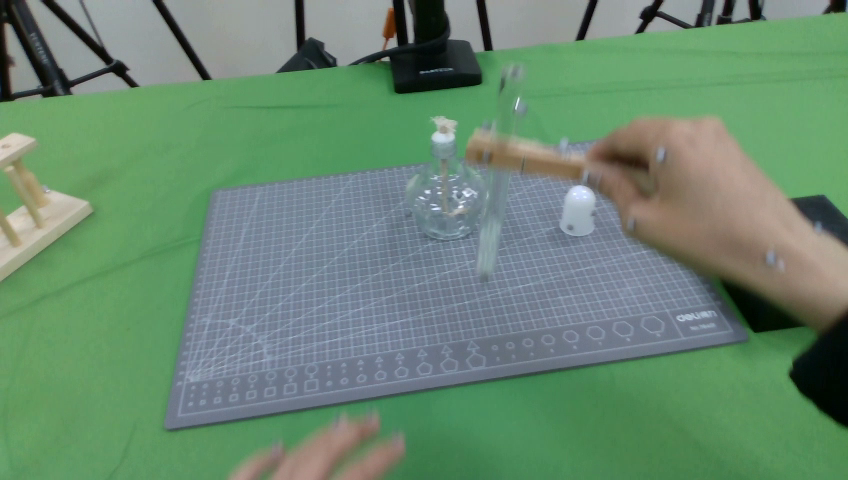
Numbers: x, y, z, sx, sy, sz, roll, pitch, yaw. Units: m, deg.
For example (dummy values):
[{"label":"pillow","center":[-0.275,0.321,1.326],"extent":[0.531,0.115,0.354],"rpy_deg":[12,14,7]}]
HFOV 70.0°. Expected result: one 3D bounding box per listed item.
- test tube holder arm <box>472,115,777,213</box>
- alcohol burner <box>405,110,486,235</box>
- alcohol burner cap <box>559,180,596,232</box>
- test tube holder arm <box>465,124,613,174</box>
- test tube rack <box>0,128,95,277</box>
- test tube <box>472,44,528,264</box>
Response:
[{"label":"test tube holder arm","center":[0.112,-0.047,0.358],"extent":[0.177,0.015,0.013],"rpy_deg":[17,41,15]},{"label":"alcohol burner","center":[0.019,-0.065,0.560],"extent":[0.078,0.120,0.077],"rpy_deg":[-3,41,3]},{"label":"alcohol burner cap","center":[0.146,-0.034,0.570],"extent":[0.034,0.048,0.033],"rpy_deg":[-3,42,3]},{"label":"test tube holder arm","center":[0.068,-0.055,0.364],"extent":[0.087,0.015,0.010],"rpy_deg":[12,39,9]},{"label":"test tube rack","center":[-0.436,0.000,0.553],"extent":[0.066,0.086,0.241],"rpy_deg":[16,46,21]},{"label":"test tube","center":[0.046,-0.047,0.383],"extent":[0.017,0.151,0.017],"rpy_deg":[4,35,-2]}]
